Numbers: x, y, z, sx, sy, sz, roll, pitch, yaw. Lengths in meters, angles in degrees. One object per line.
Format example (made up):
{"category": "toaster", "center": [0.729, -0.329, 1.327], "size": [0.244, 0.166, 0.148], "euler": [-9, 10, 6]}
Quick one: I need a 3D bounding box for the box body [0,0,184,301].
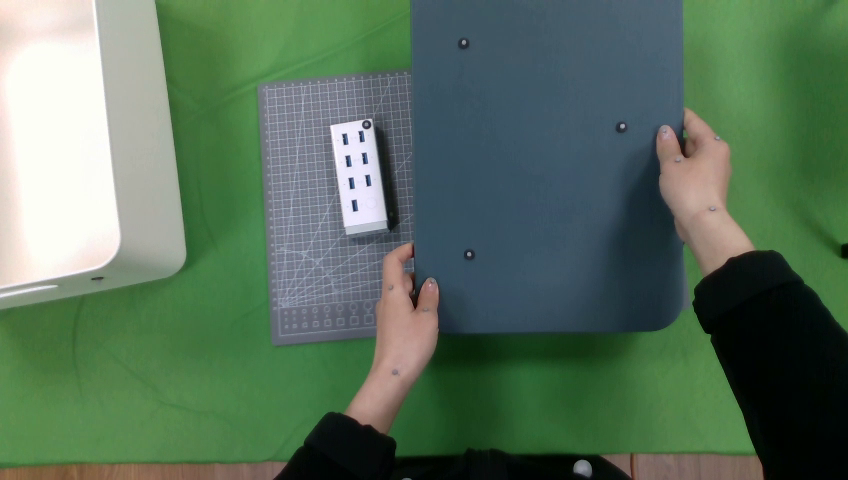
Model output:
{"category": "box body", "center": [-0.411, -0.126, 0.619], "size": [0.254, 0.161, 0.362], "euler": [-11, 82, 1]}

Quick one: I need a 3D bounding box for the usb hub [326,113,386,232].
{"category": "usb hub", "center": [-0.073, -0.074, 0.664], "size": [0.049, 0.025, 0.124], "euler": [-9, 83, 1]}

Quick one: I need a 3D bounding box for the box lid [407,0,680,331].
{"category": "box lid", "center": [0.115, -0.095, 0.592], "size": [0.263, 0.015, 0.371], "euler": [-1, 91, 1]}
